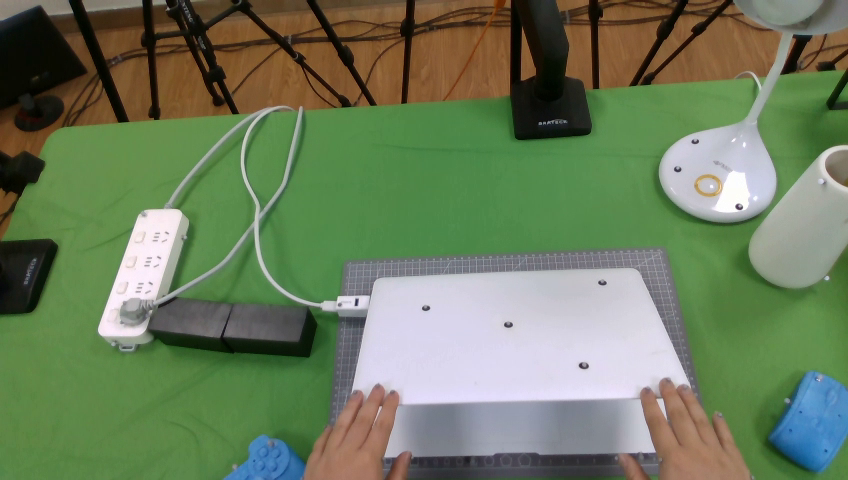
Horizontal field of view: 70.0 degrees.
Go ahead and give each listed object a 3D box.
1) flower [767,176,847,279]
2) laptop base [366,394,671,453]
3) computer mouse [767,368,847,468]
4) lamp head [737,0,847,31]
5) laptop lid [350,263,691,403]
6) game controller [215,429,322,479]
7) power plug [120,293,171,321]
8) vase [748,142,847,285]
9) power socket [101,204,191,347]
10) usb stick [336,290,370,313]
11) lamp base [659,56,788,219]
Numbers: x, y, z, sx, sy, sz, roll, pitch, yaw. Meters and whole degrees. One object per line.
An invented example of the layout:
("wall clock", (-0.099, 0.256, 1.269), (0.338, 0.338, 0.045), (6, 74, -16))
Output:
("flower", (0.474, -0.079, 0.660), (0.038, 0.364, 0.043), (-6, 47, -17))
("laptop base", (0.108, 0.145, 0.762), (0.354, 0.023, 0.233), (-3, 61, 4))
("computer mouse", (0.443, 0.196, 0.684), (0.062, 0.041, 0.117), (35, 63, 27))
("lamp head", (0.355, -0.267, 0.543), (0.112, 0.113, 0.122), (25, 81, 20))
("laptop lid", (0.101, 0.099, 0.714), (0.356, 0.013, 0.239), (-2, 32, 6))
("game controller", (-0.204, 0.288, 0.690), (0.155, 0.052, 0.096), (-36, 59, -16))
("power plug", (-0.371, 0.095, 0.811), (0.072, 0.053, 0.035), (10, 60, 9))
("vase", (0.466, -0.028, 0.727), (0.098, 0.202, 0.097), (-4, 57, 6))
("power socket", (-0.395, 0.042, 0.869), (0.072, 0.033, 0.224), (0, 58, 5))
("usb stick", (-0.085, 0.082, 0.805), (0.059, 0.027, 0.021), (-2, 55, 2))
("lamp base", (0.423, -0.148, 0.817), (0.159, 0.182, 0.178), (28, 62, 21))
